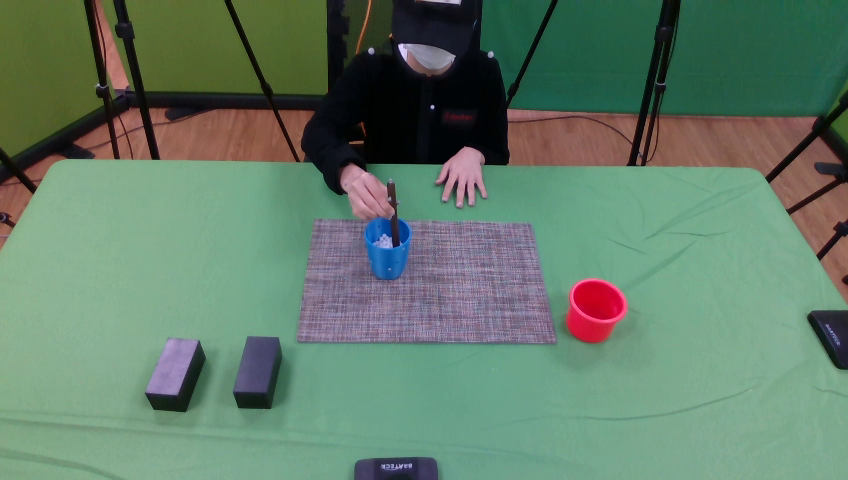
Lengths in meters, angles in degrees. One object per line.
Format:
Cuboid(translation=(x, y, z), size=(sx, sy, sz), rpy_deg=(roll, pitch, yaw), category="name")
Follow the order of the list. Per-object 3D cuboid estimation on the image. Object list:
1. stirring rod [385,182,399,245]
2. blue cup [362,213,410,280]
Cuboid(translation=(-0.054, -0.032, 1.043), size=(0.014, 0.177, 0.006), rpy_deg=(3, 45, 5), category="stirring rod")
Cuboid(translation=(-0.069, 0.021, 1.113), size=(0.093, 0.101, 0.092), rpy_deg=(1, 47, -1), category="blue cup")
